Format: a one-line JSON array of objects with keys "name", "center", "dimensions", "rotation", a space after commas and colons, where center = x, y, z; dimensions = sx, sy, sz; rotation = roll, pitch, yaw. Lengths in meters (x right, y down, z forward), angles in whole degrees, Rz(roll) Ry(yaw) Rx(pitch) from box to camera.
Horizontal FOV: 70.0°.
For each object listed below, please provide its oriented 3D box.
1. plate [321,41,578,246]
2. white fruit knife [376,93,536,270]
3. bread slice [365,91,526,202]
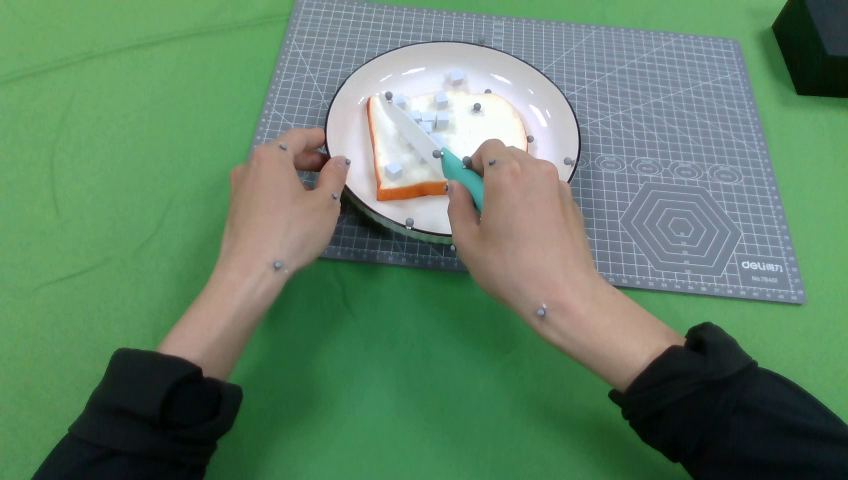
[{"name": "plate", "center": [0.020, -0.080, 0.502], "dimensions": [0.209, 0.038, 0.207], "rotation": [2, 59, -3]}, {"name": "white fruit knife", "center": [0.015, -0.055, 0.444], "dimensions": [0.016, 0.027, 0.205], "rotation": [-19, 50, -30]}, {"name": "bread slice", "center": [0.018, -0.084, 0.507], "dimensions": [0.132, 0.019, 0.104], "rotation": [-7, 60, -7]}]
